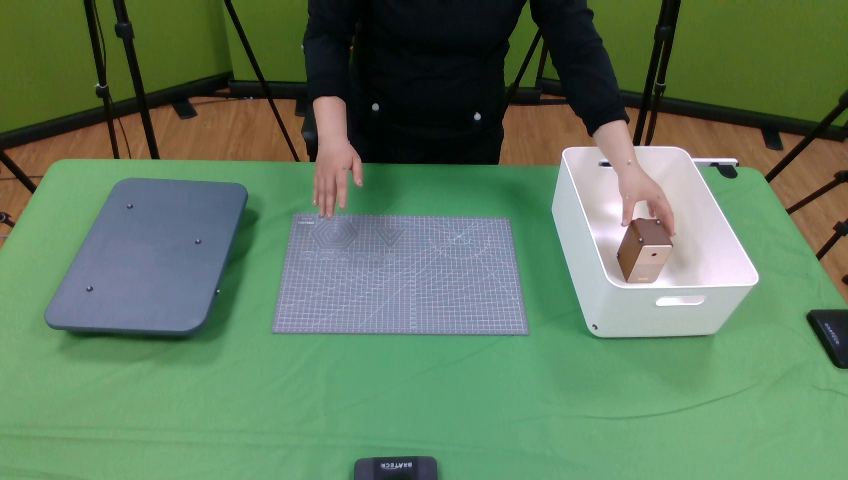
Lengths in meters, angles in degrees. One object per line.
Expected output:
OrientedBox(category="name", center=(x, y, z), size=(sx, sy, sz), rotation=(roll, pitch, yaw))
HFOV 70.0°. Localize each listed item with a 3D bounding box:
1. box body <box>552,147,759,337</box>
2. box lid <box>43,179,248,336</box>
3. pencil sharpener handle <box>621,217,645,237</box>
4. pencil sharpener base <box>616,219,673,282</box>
OrientedBox(category="box body", center=(0.400, -0.001, 1.131), size=(0.254, 0.161, 0.361), rotation=(-1, 46, -5))
OrientedBox(category="box lid", center=(-0.484, 0.017, 1.093), size=(0.263, 0.015, 0.369), rotation=(2, 46, -2))
OrientedBox(category="pencil sharpener handle", center=(0.404, -0.026, 1.166), size=(0.036, 0.068, 0.030), rotation=(13, 43, -18))
OrientedBox(category="pencil sharpener base", center=(0.411, 0.020, 1.141), size=(0.061, 0.107, 0.076), rotation=(0, 46, -5))
